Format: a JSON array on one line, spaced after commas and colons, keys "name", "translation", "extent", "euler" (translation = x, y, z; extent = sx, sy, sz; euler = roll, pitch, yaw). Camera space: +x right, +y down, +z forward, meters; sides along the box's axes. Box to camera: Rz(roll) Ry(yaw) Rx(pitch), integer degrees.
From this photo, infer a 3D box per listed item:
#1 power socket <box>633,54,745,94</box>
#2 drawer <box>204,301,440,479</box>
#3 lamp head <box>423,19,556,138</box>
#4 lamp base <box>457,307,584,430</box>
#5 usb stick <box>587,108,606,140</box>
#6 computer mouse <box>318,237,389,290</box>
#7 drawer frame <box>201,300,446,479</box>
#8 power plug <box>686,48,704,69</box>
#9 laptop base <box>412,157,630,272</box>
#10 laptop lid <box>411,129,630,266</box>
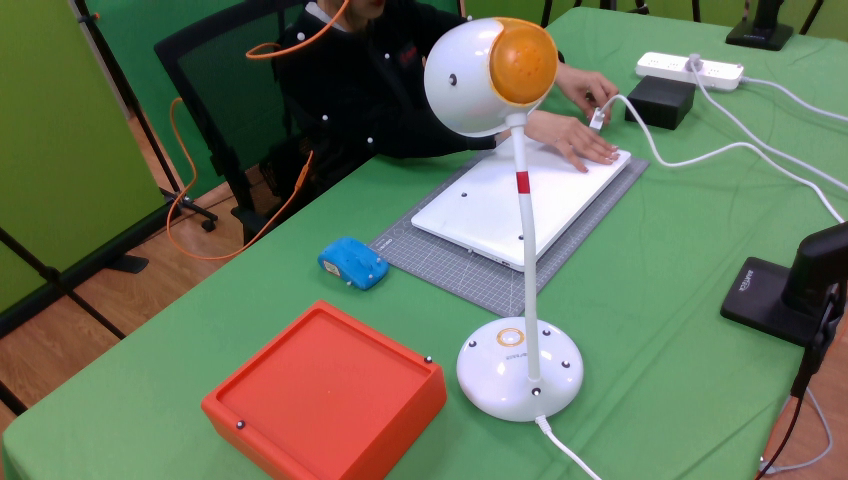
[{"name": "power socket", "translation": [0.563, -0.358, 1.295], "extent": [0.225, 0.033, 0.072], "euler": [21, 50, 30]}, {"name": "drawer", "translation": [-0.119, 0.194, 0.735], "extent": [0.210, 0.073, 0.195], "euler": [23, 49, 32]}, {"name": "lamp head", "translation": [0.068, -0.151, 0.563], "extent": [0.113, 0.113, 0.122], "euler": [-21, 18, -13]}, {"name": "lamp base", "translation": [0.115, 0.108, 0.713], "extent": [0.161, 0.181, 0.178], "euler": [-16, 43, -8]}, {"name": "usb stick", "translation": [0.332, -0.223, 1.172], "extent": [0.021, 0.027, 0.059], "euler": [21, 78, 6]}, {"name": "computer mouse", "translation": [-0.113, 0.033, 0.959], "extent": [0.116, 0.041, 0.063], "euler": [28, 50, 31]}, {"name": "drawer frame", "translation": [-0.117, 0.193, 0.733], "extent": [0.212, 0.083, 0.202], "euler": [23, 48, 32]}, {"name": "power plug", "translation": [0.565, -0.384, 1.246], "extent": [0.035, 0.073, 0.052], "euler": [22, 73, 14]}, {"name": "laptop base", "translation": [0.176, -0.083, 1.056], "extent": [0.233, 0.023, 0.355], "euler": [21, 48, 36]}, {"name": "laptop lid", "translation": [0.172, -0.093, 1.049], "extent": [0.239, 0.013, 0.358], "euler": [24, 49, 36]}]
